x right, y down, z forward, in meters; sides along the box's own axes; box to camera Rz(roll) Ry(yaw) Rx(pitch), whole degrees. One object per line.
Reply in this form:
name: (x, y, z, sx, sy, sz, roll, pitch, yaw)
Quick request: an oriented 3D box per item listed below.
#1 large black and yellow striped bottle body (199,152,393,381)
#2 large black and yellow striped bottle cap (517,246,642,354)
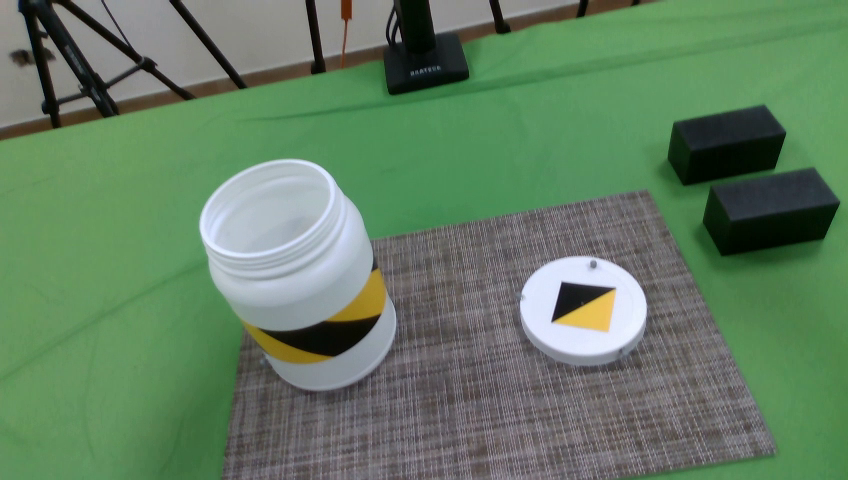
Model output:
large black and yellow striped bottle body: (-0.107, 0.026, 0.535, 0.130, 0.186, 0.129, -6, 48, 7)
large black and yellow striped bottle cap: (0.145, 0.054, 0.570, 0.115, 0.019, 0.114, -6, 49, 7)
